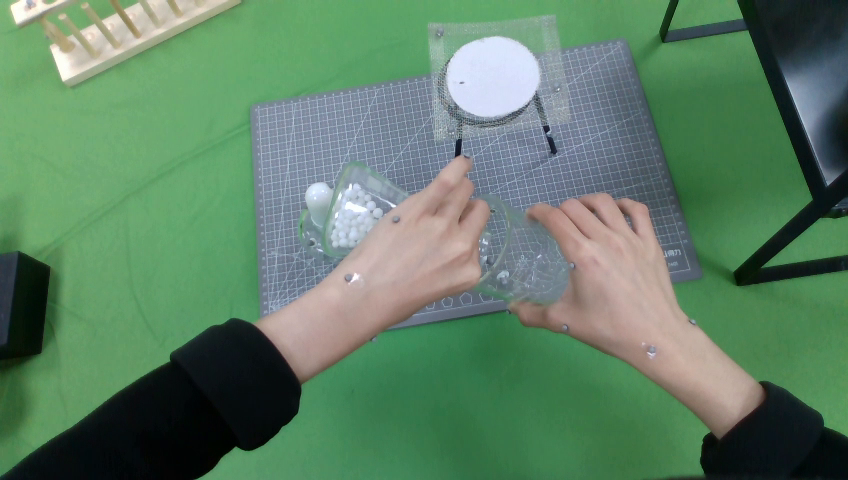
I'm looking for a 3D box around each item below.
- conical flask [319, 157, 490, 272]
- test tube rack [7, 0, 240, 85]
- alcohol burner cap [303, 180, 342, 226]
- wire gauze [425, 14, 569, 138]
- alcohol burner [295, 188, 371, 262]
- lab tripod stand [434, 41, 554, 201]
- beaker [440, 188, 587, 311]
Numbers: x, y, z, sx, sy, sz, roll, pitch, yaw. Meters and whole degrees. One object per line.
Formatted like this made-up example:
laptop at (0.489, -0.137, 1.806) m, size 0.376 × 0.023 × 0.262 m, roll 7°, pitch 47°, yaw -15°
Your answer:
conical flask at (-0.013, -0.011, 0.460) m, size 0.122 × 0.075 × 0.075 m, roll 17°, pitch 71°, yaw -7°
test tube rack at (-0.364, -0.293, 0.747) m, size 0.242 × 0.086 × 0.066 m, roll -29°, pitch 69°, yaw -5°
alcohol burner cap at (-0.097, -0.038, 0.569) m, size 0.034 × 0.048 × 0.033 m, roll -1°, pitch 62°, yaw 3°
wire gauze at (0.064, -0.154, 0.551) m, size 0.121 × 0.011 × 0.124 m, roll -4°, pitch 70°, yaw 3°
alcohol burner at (-0.093, -0.023, 0.602) m, size 0.078 × 0.120 × 0.077 m, roll -1°, pitch 67°, yaw 3°
lab tripod stand at (0.064, -0.124, 0.613) m, size 0.148 × 0.132 × 0.147 m, roll -1°, pitch 68°, yaw 4°
beaker at (0.072, 0.014, 0.482) m, size 0.084 × 0.101 × 0.073 m, roll -46°, pitch 40°, yaw 31°
